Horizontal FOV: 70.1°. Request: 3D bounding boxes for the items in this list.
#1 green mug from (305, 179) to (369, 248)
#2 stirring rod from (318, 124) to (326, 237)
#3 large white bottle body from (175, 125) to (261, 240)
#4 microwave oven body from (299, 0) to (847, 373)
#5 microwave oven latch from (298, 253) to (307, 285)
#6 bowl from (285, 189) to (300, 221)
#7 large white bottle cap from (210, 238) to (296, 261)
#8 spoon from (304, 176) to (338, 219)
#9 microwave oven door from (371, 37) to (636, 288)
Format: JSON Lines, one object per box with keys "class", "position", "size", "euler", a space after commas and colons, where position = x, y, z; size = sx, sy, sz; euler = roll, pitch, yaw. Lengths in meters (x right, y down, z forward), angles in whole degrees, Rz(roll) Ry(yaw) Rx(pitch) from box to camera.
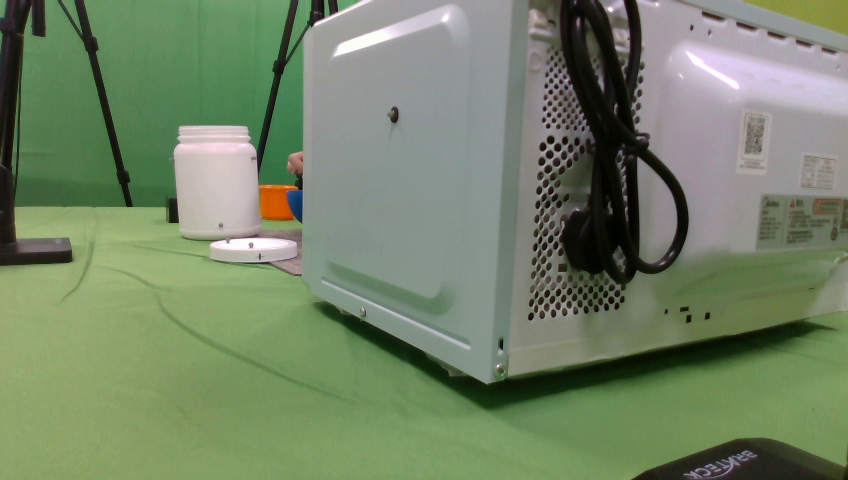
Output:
{"class": "green mug", "position": [-0.133, -0.044, 0.977], "size": [0.092, 0.105, 0.126], "euler": [6, 8, 32]}
{"class": "stirring rod", "position": [-0.160, -0.092, 0.945], "size": [0.006, 0.176, 0.014], "euler": [3, 10, -6]}
{"class": "large white bottle body", "position": [-0.349, -0.100, 1.025], "size": [0.131, 0.184, 0.130], "euler": [-1, 9, 0]}
{"class": "microwave oven body", "position": [0.152, -0.055, 0.542], "size": [0.444, 0.260, 0.324], "euler": [-2, 7, -33]}
{"class": "microwave oven latch", "position": [-0.081, 0.027, 0.583], "size": [0.079, 0.029, 0.030], "euler": [-2, 7, -33]}
{"class": "bowl", "position": [-0.180, -0.051, 1.113], "size": [0.151, 0.077, 0.151], "euler": [3, 8, 0]}
{"class": "large white bottle cap", "position": [-0.236, 0.012, 0.839], "size": [0.115, 0.018, 0.115], "euler": [1, 8, 0]}
{"class": "spoon", "position": [-0.201, -0.084, 1.146], "size": [0.042, 0.021, 0.193], "euler": [3, 30, -25]}
{"class": "microwave oven door", "position": [0.109, -0.080, 0.686], "size": [0.358, 0.243, 0.039], "euler": [-2, 9, -33]}
